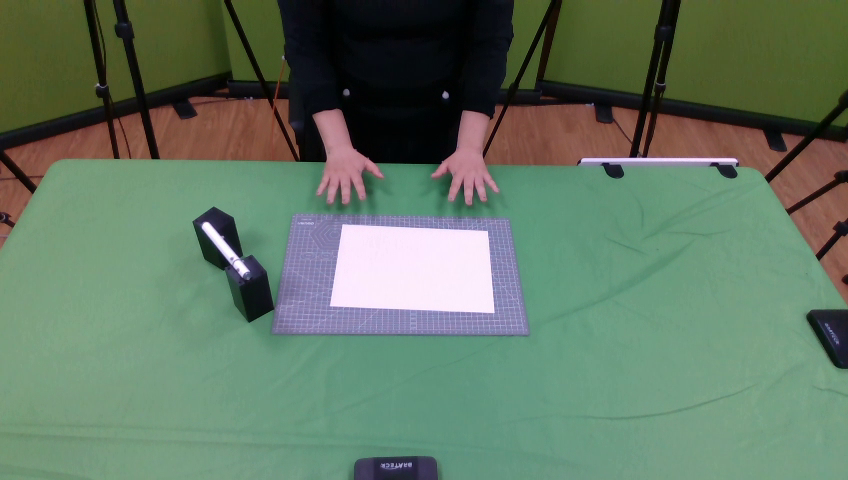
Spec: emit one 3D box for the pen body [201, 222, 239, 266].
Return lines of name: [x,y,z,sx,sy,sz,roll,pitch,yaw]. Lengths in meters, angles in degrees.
pen body: [-0.338,0.014,1.023,0.017,0.017,0.143,-29,53,-28]

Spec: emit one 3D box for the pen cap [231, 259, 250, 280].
pen cap: [-0.299,0.049,0.991,0.017,0.017,0.038,-29,55,-28]
